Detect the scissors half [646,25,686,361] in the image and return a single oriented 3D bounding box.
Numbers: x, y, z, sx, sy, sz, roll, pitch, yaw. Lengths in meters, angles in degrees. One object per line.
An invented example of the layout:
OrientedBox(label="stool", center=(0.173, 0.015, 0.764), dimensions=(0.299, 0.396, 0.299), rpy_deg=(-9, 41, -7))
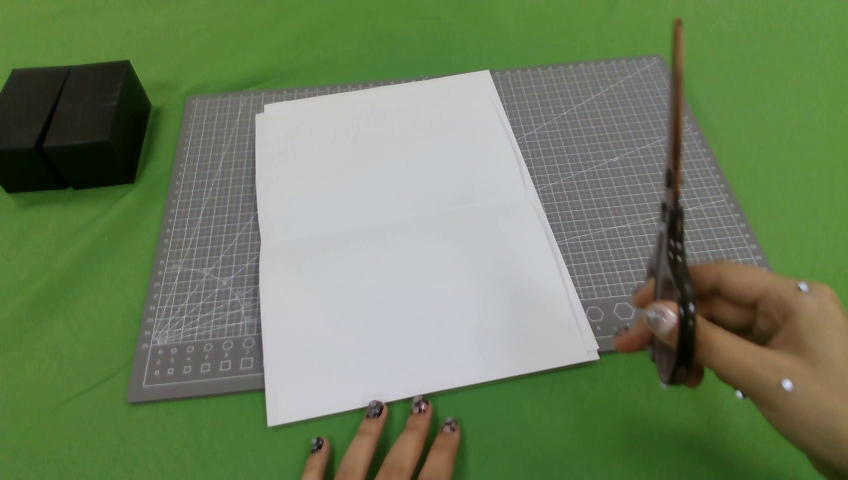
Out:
OrientedBox(label="scissors half", center=(0.126, -0.018, 0.313), dimensions=(0.013, 0.176, 0.040), rpy_deg=(3, 20, 14))

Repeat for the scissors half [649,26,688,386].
OrientedBox(label="scissors half", center=(0.122, -0.014, 0.294), dimensions=(0.013, 0.040, 0.175), rpy_deg=(1, 93, 9))
